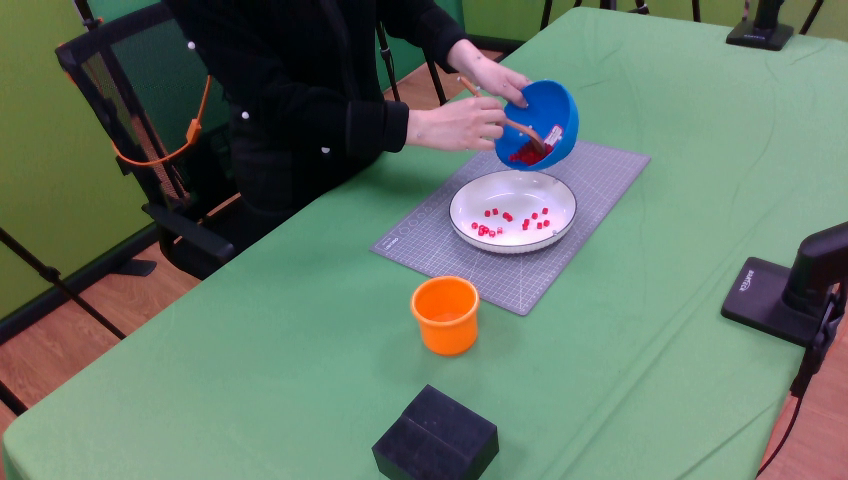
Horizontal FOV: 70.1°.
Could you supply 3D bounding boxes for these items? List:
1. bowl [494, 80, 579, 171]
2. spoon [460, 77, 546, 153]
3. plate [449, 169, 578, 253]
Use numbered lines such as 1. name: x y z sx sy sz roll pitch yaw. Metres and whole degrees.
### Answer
1. bowl: 0.197 -0.174 0.983 0.077 0.151 0.150 19 20 -40
2. spoon: 0.125 -0.192 0.937 0.021 0.195 0.041 -54 30 14
3. plate: 0.146 -0.044 0.994 0.209 0.038 0.208 -5 40 5
